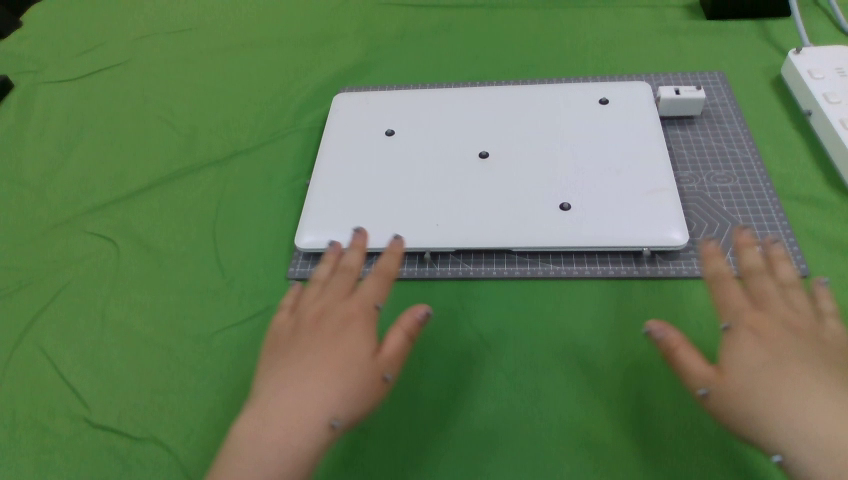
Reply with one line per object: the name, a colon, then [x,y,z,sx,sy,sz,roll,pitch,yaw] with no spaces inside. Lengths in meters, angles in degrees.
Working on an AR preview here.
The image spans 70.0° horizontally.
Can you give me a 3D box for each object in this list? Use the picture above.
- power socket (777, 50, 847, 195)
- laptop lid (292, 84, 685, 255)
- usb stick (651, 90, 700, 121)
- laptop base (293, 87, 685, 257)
power socket: [0.424,-0.122,0.606,0.072,0.033,0.224,-1,48,5]
laptop lid: [0.058,-0.078,0.606,0.356,0.013,0.239,1,50,8]
usb stick: [0.256,-0.141,0.638,0.059,0.027,0.021,-2,47,10]
laptop base: [0.060,-0.072,0.617,0.354,0.023,0.233,-1,52,7]
